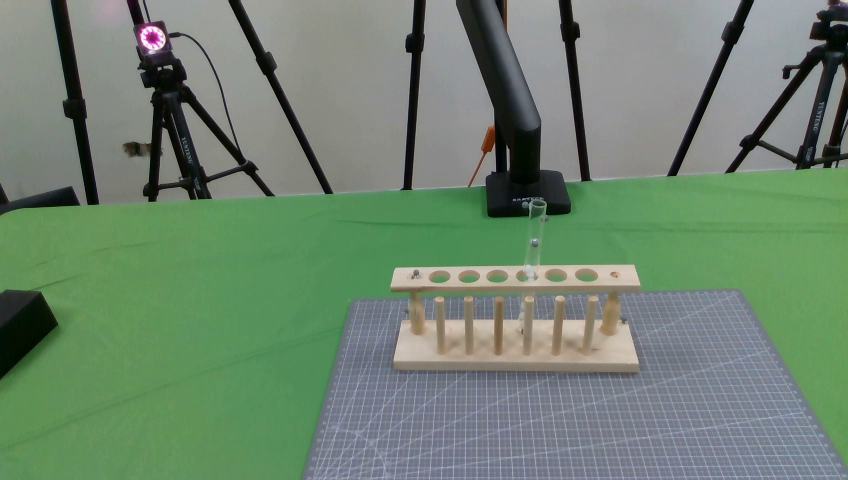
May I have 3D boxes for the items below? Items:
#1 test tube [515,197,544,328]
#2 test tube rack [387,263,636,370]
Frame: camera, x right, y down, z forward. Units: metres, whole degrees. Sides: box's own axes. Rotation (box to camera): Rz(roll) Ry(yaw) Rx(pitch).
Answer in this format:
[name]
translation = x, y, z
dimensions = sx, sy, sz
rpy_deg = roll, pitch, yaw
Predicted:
[test tube]
translation = 0.103, 0.027, 0.598
dimensions = 0.017, 0.151, 0.017
rpy_deg = 0, 32, 0
[test tube rack]
translation = 0.086, 0.078, 0.614
dimensions = 0.242, 0.086, 0.066
rpy_deg = -1, 33, 7
